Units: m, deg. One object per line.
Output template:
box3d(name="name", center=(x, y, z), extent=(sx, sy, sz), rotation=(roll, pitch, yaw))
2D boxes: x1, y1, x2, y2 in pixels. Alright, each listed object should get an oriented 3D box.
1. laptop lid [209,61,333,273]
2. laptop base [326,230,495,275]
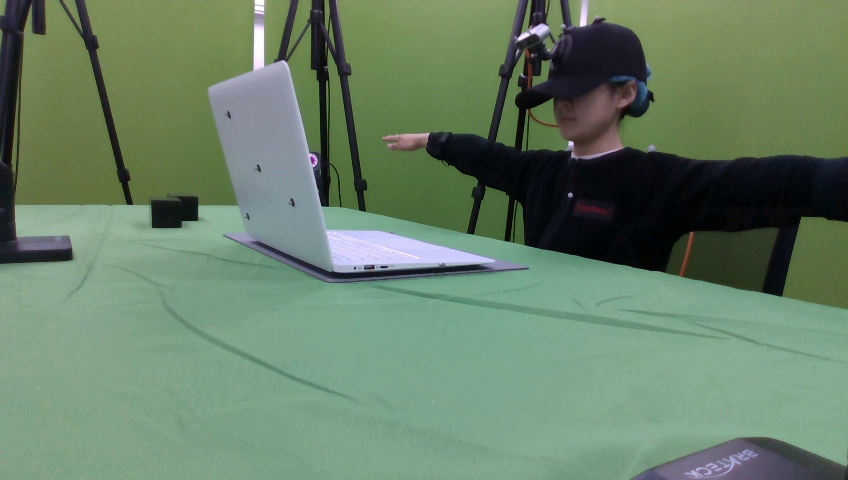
box3d(name="laptop lid", center=(-0.213, -0.095, 0.790), extent=(0.013, 0.241, 0.355), rotation=(-18, 18, -29))
box3d(name="laptop base", center=(-0.093, 0.015, 0.883), extent=(0.237, 0.023, 0.352), rotation=(3, 6, -33))
